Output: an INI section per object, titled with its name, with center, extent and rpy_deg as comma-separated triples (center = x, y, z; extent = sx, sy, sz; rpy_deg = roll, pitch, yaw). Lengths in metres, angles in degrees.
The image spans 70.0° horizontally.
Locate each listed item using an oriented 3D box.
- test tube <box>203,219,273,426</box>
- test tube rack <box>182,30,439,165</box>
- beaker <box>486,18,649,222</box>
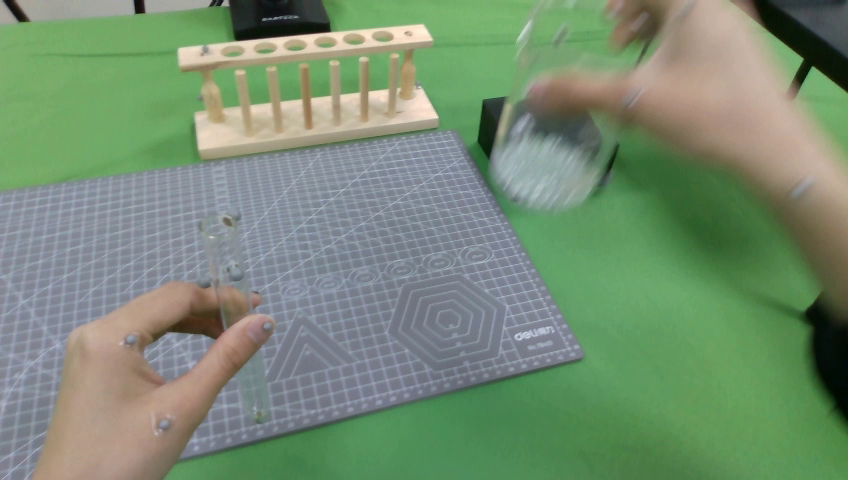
[test tube]
center = -0.092, 0.051, 0.309
extent = 0.017, 0.151, 0.017
rpy_deg = 3, 42, -2
[test tube rack]
center = -0.107, -0.146, 0.613
extent = 0.243, 0.086, 0.066
rpy_deg = -11, 48, -14
[beaker]
center = 0.077, -0.067, 0.360
extent = 0.084, 0.101, 0.073
rpy_deg = -17, 50, -23
